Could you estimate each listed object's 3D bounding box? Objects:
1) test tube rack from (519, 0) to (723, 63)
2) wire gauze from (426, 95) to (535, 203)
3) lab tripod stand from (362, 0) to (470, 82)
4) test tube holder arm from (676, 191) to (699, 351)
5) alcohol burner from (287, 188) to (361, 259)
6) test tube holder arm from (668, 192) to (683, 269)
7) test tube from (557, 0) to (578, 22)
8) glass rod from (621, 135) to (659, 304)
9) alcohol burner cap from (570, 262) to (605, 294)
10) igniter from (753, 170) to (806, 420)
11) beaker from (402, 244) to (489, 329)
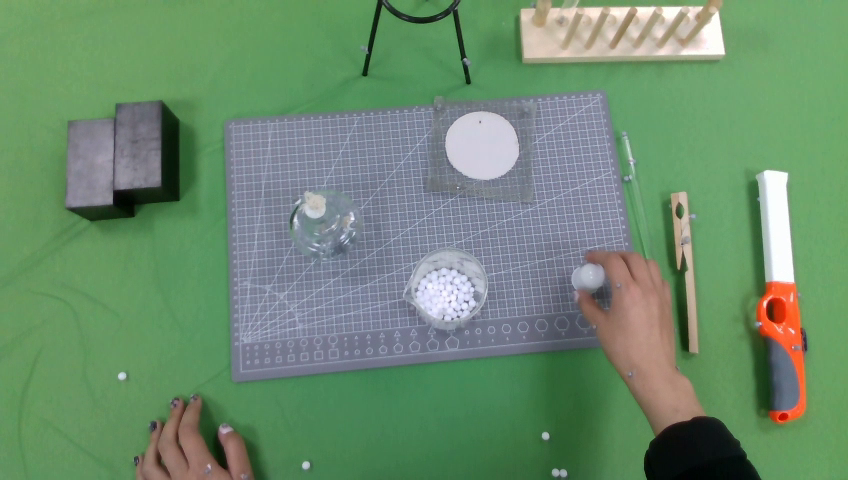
[{"bbox_3d":[0.239,-0.259,0.704,0.242,0.085,0.066,-1,77,-1],"label":"test tube rack"},{"bbox_3d":[0.067,-0.109,0.703,0.125,0.011,0.121,6,78,-1],"label":"wire gauze"},{"bbox_3d":[-0.006,-0.243,0.670,0.148,0.132,0.147,0,79,-1],"label":"lab tripod stand"},{"bbox_3d":[0.292,0.033,0.673,0.013,0.015,0.177,-9,75,33],"label":"test tube holder arm"},{"bbox_3d":[-0.106,-0.022,0.625,0.078,0.119,0.077,0,76,1],"label":"alcohol burner"},{"bbox_3d":[0.286,-0.010,0.685,0.010,0.015,0.087,-9,76,33],"label":"test tube holder arm"},{"bbox_3d":[0.171,-0.283,0.657,0.017,0.150,0.017,1,77,-4],"label":"test tube"},{"bbox_3d":[0.246,-0.025,0.691,0.008,0.008,0.199,-7,80,-3],"label":"glass rod"},{"bbox_3d":[0.179,0.039,0.655,0.034,0.048,0.033,0,78,-1],"label":"alcohol burner cap"},{"bbox_3d":[0.388,0.056,0.667,0.057,0.025,0.275,5,77,-10],"label":"igniter"},{"bbox_3d":[0.020,0.053,0.619,0.084,0.100,0.073,-13,77,-3],"label":"beaker"}]
